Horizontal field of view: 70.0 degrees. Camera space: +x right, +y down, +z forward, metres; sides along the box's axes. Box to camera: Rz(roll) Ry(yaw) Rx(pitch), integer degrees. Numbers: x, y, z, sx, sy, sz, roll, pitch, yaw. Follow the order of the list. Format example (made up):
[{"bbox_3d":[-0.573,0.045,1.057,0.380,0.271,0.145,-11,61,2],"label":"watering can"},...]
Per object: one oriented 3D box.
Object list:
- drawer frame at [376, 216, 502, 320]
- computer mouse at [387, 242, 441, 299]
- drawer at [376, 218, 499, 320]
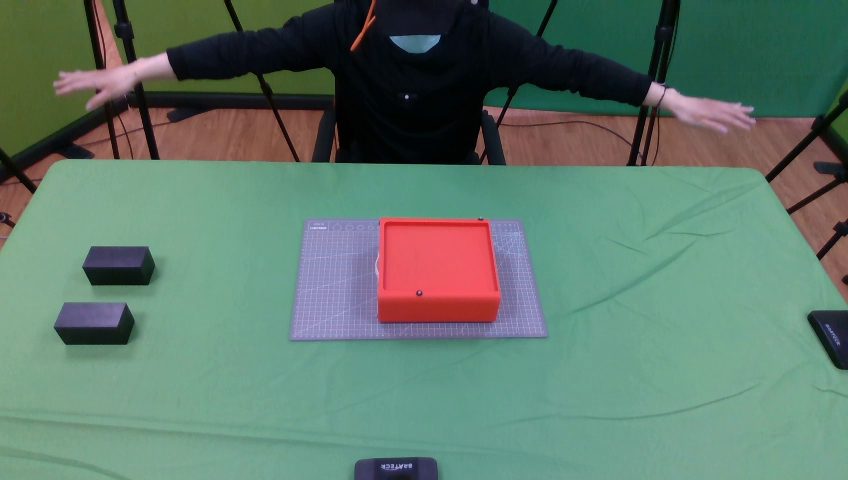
[{"bbox_3d":[0.021,0.049,1.102,0.214,0.083,0.200,1,46,-4],"label":"drawer frame"},{"bbox_3d":[-0.018,0.053,1.113,0.062,0.041,0.117,26,58,10],"label":"computer mouse"},{"bbox_3d":[0.019,0.050,1.102,0.212,0.073,0.193,1,46,-3],"label":"drawer"}]
